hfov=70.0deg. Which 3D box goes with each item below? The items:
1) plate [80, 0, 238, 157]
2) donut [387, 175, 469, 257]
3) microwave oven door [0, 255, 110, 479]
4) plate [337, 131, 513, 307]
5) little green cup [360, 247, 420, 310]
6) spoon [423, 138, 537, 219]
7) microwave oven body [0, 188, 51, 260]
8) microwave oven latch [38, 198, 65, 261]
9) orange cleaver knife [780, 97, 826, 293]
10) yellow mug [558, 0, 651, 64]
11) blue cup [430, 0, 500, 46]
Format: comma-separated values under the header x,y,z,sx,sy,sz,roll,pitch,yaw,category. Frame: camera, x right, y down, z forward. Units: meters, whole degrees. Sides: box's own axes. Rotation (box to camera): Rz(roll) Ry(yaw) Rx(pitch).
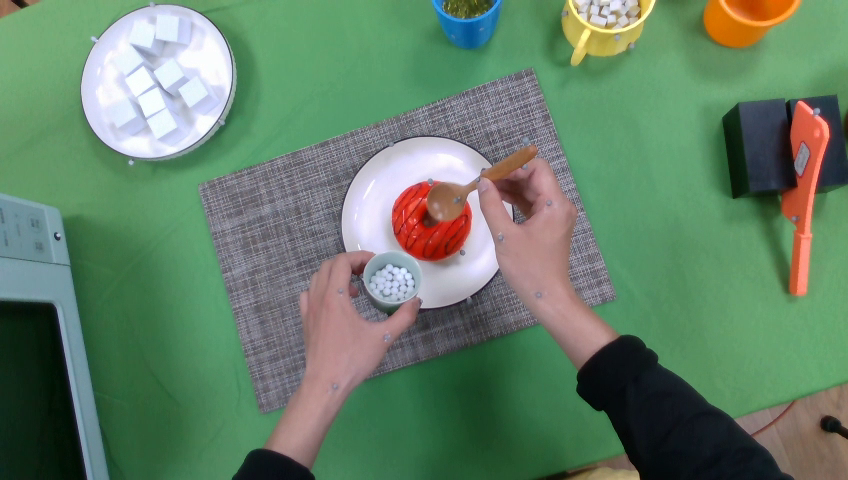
x,y,z,sx,sy,sz,roll,pitch,yaw,category
-0.338,-0.206,0.785,0.207,0.039,0.207,-1,84,6,plate
0.005,-0.028,0.712,0.099,0.048,0.099,-1,85,8,donut
-0.435,0.186,0.632,0.039,0.244,0.354,-16,82,4,microwave oven door
0.002,-0.024,0.723,0.209,0.038,0.208,-1,84,6,plate
-0.036,0.042,0.629,0.062,0.039,0.061,4,58,-7,little green cup
0.047,-0.055,0.567,0.021,0.193,0.041,-32,93,-25,spoon
-0.585,0.185,0.654,0.326,0.261,0.440,-16,83,4,microwave oven body
-0.477,-0.012,0.761,0.030,0.029,0.079,-14,83,4,microwave oven latch
0.406,-0.046,0.661,0.012,0.077,0.212,-4,113,9,orange cleaver knife
0.205,-0.268,0.716,0.099,0.064,0.131,30,89,9,yellow mug
0.050,-0.279,0.718,0.092,0.100,0.092,0,85,6,blue cup
